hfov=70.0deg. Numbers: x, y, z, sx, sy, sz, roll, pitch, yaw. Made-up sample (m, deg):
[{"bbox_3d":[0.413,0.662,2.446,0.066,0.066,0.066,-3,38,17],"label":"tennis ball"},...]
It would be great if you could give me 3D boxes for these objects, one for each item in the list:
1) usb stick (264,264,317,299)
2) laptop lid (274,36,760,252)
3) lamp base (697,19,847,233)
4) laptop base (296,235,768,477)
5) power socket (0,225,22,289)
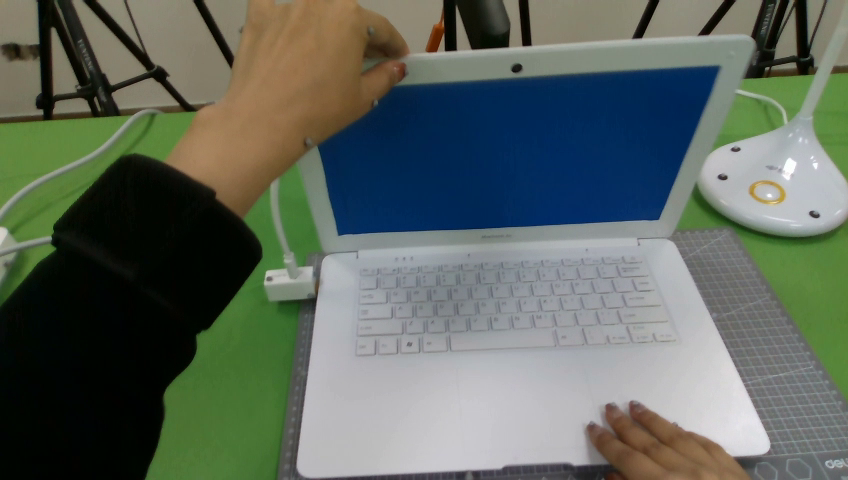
[{"bbox_3d":[-0.118,0.039,0.572,0.059,0.027,0.021,-2,39,-3],"label":"usb stick"},{"bbox_3d":[0.070,-0.067,0.520,0.357,0.244,0.013,-4,53,0],"label":"laptop lid"},{"bbox_3d":[0.393,-0.128,0.635,0.159,0.182,0.178,21,45,23],"label":"lamp base"},{"bbox_3d":[0.077,0.088,0.530,0.354,0.023,0.233,-3,46,-1],"label":"laptop base"},{"bbox_3d":[-0.452,0.064,0.565,0.072,0.033,0.224,-4,41,-5],"label":"power socket"}]
